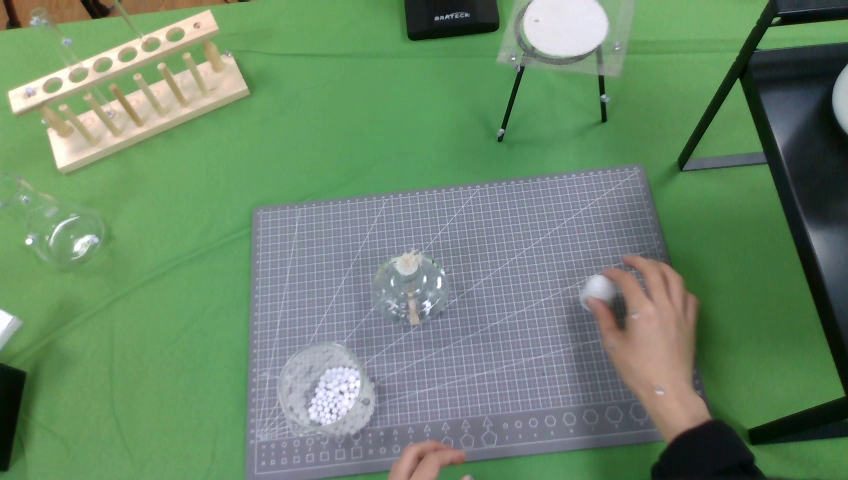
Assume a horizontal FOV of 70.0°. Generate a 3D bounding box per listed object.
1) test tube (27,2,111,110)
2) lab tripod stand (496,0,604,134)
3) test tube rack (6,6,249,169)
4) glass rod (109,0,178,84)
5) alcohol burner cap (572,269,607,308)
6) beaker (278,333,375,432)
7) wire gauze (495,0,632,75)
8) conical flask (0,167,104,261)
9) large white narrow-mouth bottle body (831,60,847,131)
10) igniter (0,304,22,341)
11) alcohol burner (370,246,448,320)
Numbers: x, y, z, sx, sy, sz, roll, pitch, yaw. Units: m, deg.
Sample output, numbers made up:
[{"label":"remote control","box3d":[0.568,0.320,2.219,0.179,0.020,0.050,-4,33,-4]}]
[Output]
[{"label":"test tube","box3d":[-0.392,-0.200,0.678,0.017,0.151,0.017,-1,60,2]},{"label":"lab tripod stand","box3d":[0.141,-0.195,0.675,0.148,0.132,0.147,-1,65,2]},{"label":"test tube rack","box3d":[-0.346,-0.181,0.722,0.242,0.086,0.066,-26,67,-8]},{"label":"glass rod","box3d":[-0.329,-0.242,0.675,0.008,0.201,0.008,-5,60,9]},{"label":"alcohol burner cap","box3d":[0.170,0.046,0.615,0.034,0.048,0.033,-2,65,5]},{"label":"beaker","box3d":[-0.086,0.139,0.560,0.073,0.101,0.083,22,70,13]},{"label":"wire gauze","box3d":[0.145,-0.224,0.613,0.121,0.011,0.124,14,69,7]},{"label":"conical flask","box3d":[-0.406,-0.032,0.641,0.075,0.123,0.075,-1,66,3]},{"label":"large white narrow-mouth bottle body","box3d":[0.377,-0.146,0.411,0.102,0.196,0.101,-2,67,4]},{"label":"igniter","box3d":[-0.476,0.180,0.555,0.057,0.025,0.275,21,68,22]},{"label":"alcohol burner","box3d":[-0.016,0.036,0.592,0.078,0.120,0.077,0,65,1]}]
